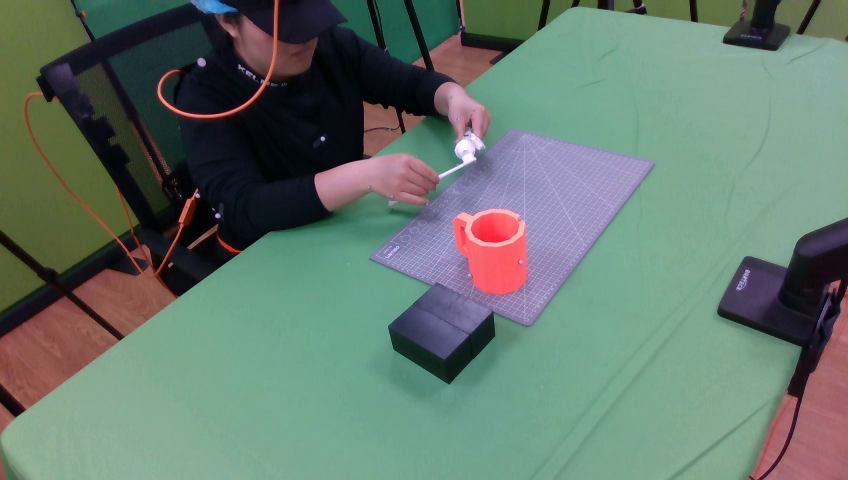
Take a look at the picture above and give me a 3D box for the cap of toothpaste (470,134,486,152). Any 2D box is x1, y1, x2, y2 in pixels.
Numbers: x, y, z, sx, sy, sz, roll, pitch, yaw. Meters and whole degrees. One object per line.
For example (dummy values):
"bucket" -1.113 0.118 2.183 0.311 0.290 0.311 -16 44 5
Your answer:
"cap of toothpaste" 0.088 -0.160 1.000 0.011 0.037 0.037 -39 44 0

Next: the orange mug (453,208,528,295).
"orange mug" 0.095 0.009 0.894 0.125 0.101 0.084 32 55 33

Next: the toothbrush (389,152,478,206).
"toothbrush" 0.012 -0.103 1.041 0.181 0.016 0.014 -27 3 23

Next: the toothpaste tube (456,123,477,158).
"toothpaste tube" 0.077 -0.177 1.088 0.034 0.055 0.165 29 17 -6
